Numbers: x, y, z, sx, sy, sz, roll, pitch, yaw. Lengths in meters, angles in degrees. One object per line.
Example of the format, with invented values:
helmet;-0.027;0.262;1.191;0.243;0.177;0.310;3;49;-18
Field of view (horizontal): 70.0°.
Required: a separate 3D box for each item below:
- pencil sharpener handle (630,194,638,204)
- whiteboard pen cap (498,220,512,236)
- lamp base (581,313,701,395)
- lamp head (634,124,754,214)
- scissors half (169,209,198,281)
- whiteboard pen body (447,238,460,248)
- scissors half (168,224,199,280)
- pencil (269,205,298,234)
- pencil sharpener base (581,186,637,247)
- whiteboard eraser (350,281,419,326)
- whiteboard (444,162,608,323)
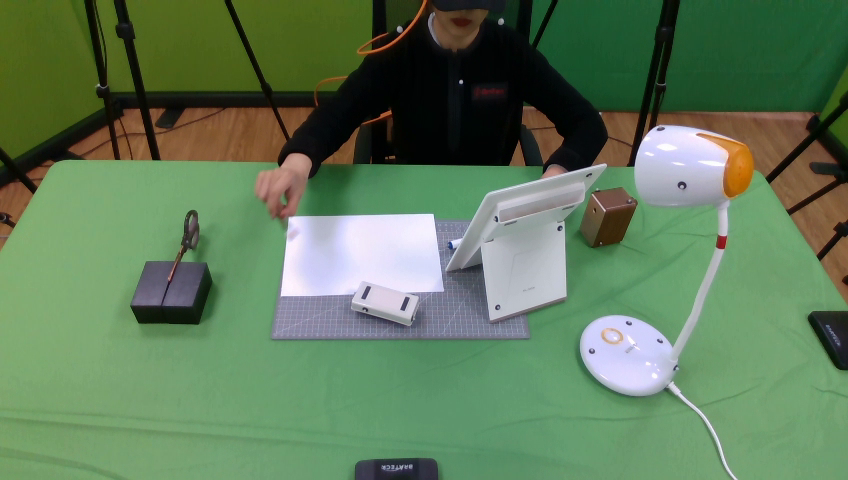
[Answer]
pencil sharpener handle;0.417;-0.068;1.215;0.031;0.068;0.036;-11;60;-15
whiteboard pen cap;0.163;-0.023;1.220;0.018;0.018;0.033;29;88;22
lamp base;0.361;0.144;0.972;0.178;0.181;0.160;34;53;23
lamp head;0.351;-0.089;0.776;0.112;0.113;0.122;-30;30;-28
scissors half;-0.438;0.007;1.099;0.013;0.040;0.174;5;48;-5
whiteboard pen body;0.112;-0.006;1.203;0.141;0.017;0.017;-14;49;-18
scissors half;-0.441;0.023;1.111;0.013;0.040;0.174;9;29;-8
pencil;-0.243;-0.039;1.034;0.012;0.012;0.193;-19;23;-21
pencil sharpener base;0.369;-0.047;1.208;0.077;0.107;0.061;-11;47;-15
whiteboard eraser;-0.069;0.113;1.065;0.112;0.042;0.055;14;46;9
whiteboard;0.186;0.025;1.029;0.217;0.306;0.143;-14;68;-17
